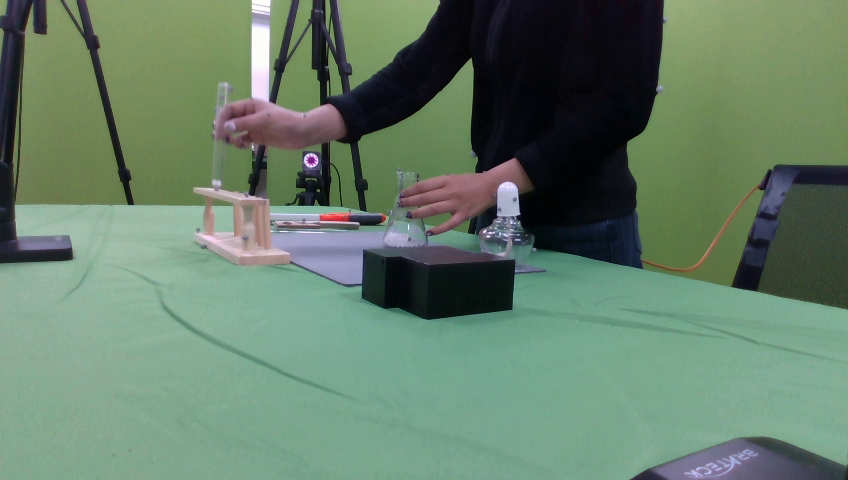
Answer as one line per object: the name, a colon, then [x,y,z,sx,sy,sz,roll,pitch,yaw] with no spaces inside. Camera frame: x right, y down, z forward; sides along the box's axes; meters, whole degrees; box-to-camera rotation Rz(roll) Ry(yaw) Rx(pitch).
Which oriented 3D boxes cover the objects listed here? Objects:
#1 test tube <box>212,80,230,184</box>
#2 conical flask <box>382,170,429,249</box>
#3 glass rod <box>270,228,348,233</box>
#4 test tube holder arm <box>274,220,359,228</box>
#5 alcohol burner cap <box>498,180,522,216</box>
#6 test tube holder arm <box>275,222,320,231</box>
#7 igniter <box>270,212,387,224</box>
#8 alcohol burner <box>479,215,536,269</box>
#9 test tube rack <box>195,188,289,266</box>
test tube: [-0.294,-0.155,0.873,0.017,0.150,0.017,6,5,0]
conical flask: [-0.027,-0.049,0.959,0.075,0.122,0.075,3,7,0]
glass rod: [-0.235,-0.017,1.105,0.201,0.008,0.008,1,7,-26]
test tube holder arm: [-0.206,-0.031,1.176,0.179,0.015,0.013,-4,46,-39]
alcohol burner cap: [0.114,-0.056,0.809,0.034,0.048,0.034,-5,12,1]
test tube holder arm: [-0.238,-0.026,1.144,0.088,0.015,0.010,-2,45,-38]
igniter: [-0.213,-0.048,1.278,0.278,0.025,0.057,-1,-2,-25]
alcohol burner: [0.113,-0.021,0.815,0.078,0.119,0.078,2,9,0]
test tube rack: [-0.266,-0.025,0.864,0.067,0.085,0.241,-2,8,-33]
